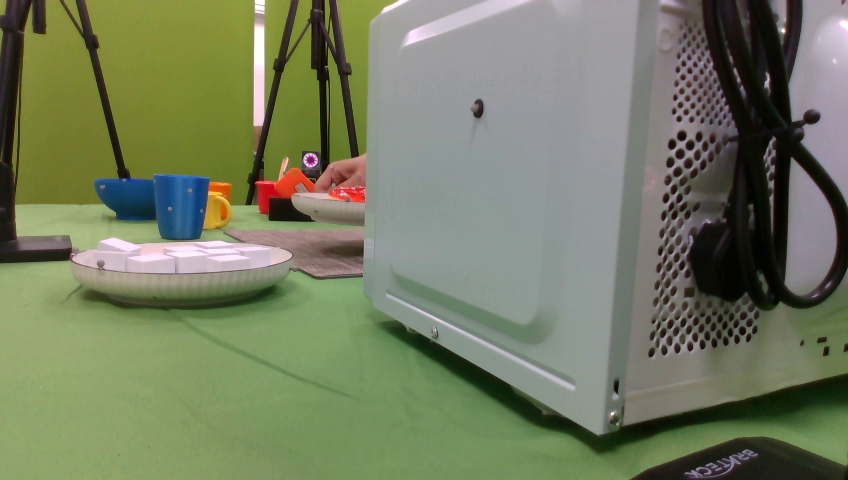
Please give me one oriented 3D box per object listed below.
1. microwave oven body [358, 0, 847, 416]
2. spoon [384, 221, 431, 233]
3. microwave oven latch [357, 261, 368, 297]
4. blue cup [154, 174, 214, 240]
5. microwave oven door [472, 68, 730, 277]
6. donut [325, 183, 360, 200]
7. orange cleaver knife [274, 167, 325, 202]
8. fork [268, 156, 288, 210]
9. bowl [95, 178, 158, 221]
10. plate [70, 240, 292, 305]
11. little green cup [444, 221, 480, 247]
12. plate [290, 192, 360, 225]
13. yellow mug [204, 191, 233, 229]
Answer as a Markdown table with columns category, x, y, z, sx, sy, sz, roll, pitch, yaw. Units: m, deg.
| category | x | y | z | sx | sy | sz | roll | pitch | yaw |
| --- | --- | --- | --- | --- | --- | --- | --- | --- | --- |
| microwave oven body | 0.211 | -0.047 | 0.474 | 0.444 | 0.260 | 0.324 | -1 | 7 | -28 |
| spoon | -0.024 | -0.029 | 1.187 | 0.041 | 0.021 | 0.194 | -11 | 0 | 23 |
| microwave oven latch | -0.019 | 0.033 | 0.531 | 0.079 | 0.029 | 0.030 | -1 | 7 | -27 |
| blue cup | -0.390 | -0.053 | 0.978 | 0.093 | 0.100 | 0.092 | 3 | 6 | 0 |
| microwave oven door | 0.213 | -0.096 | 0.819 | 0.039 | 0.243 | 0.354 | -5 | 11 | -45 |
| donut | -0.098 | -0.060 | 0.908 | 0.099 | 0.048 | 0.099 | 5 | 8 | 0 |
| orange cleaver knife | -0.238 | -0.090 | 1.381 | 0.212 | 0.077 | 0.012 | 31 | 0 | -19 |
| fork | -0.360 | -0.144 | 1.508 | 0.028 | 0.018 | 0.207 | 1 | 49 | 0 |
| bowl | -0.576 | -0.081 | 1.217 | 0.151 | 0.077 | 0.151 | 3 | 8 | 0 |
| plate | -0.242 | 0.031 | 0.618 | 0.208 | 0.039 | 0.207 | 2 | 8 | 0 |
| little green cup | 0.065 | -0.011 | 1.035 | 0.061 | 0.038 | 0.061 | 1 | 9 | 0 |
| plate | -0.095 | -0.047 | 0.906 | 0.209 | 0.038 | 0.209 | 4 | 7 | 0 |
| yellow mug | -0.415 | -0.057 | 1.132 | 0.130 | 0.064 | 0.100 | 6 | 8 | 16 |
